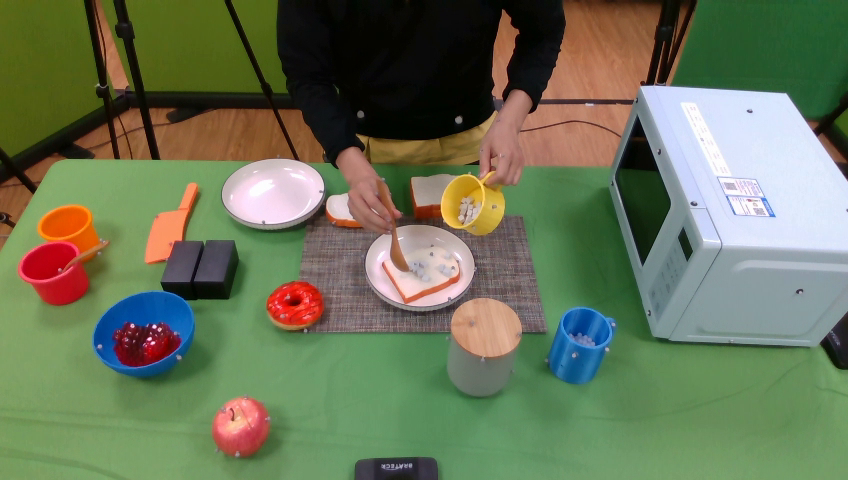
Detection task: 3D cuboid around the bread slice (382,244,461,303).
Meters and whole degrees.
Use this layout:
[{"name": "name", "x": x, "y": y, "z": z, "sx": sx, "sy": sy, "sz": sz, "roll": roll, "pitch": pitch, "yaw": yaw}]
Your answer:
[{"name": "bread slice", "x": 0.001, "y": 0.054, "z": 1.129, "sx": 0.131, "sy": 0.019, "sz": 0.104, "roll": -21, "pitch": 52, "yaw": -19}]

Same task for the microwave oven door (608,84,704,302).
[{"name": "microwave oven door", "x": 0.424, "y": -0.096, "z": 1.138, "sx": 0.039, "sy": 0.245, "sz": 0.353, "roll": 2, "pitch": 47, "yaw": -1}]

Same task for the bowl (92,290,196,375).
[{"name": "bowl", "x": -0.436, "y": 0.161, "z": 0.971, "sx": 0.151, "sy": 0.077, "sz": 0.150, "roll": 2, "pitch": 46, "yaw": -2}]

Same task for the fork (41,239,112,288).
[{"name": "fork", "x": -0.591, "y": 0.040, "z": 1.028, "sx": 0.207, "sy": 0.019, "sz": 0.028, "roll": -27, "pitch": 37, "yaw": 29}]

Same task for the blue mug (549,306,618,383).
[{"name": "blue mug", "x": 0.269, "y": 0.167, "z": 0.997, "sx": 0.116, "sy": 0.106, "sz": 0.082, "roll": -19, "pitch": 51, "yaw": -21}]

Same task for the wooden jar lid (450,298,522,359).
[{"name": "wooden jar lid", "x": 0.093, "y": 0.135, "z": 0.914, "sx": 0.108, "sy": 0.021, "sz": 0.107, "roll": 2, "pitch": 48, "yaw": -3}]

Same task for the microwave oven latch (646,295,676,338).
[{"name": "microwave oven latch", "x": 0.413, "y": 0.133, "z": 1.060, "sx": 0.030, "sy": 0.029, "sz": 0.078, "roll": 4, "pitch": 46, "yaw": 1}]

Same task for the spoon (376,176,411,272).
[{"name": "spoon", "x": -0.054, "y": -0.023, "z": 1.022, "sx": 0.041, "sy": 0.194, "sz": 0.021, "roll": 19, "pitch": 42, "yaw": 42}]

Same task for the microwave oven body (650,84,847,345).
[{"name": "microwave oven body", "x": 0.569, "y": -0.054, "z": 1.116, "sx": 0.326, "sy": 0.261, "sz": 0.439, "roll": 2, "pitch": 46, "yaw": -1}]

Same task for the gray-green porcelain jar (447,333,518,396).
[{"name": "gray-green porcelain jar", "x": 0.091, "y": 0.178, "z": 0.960, "sx": 0.106, "sy": 0.127, "sz": 0.105, "roll": 2, "pitch": 47, "yaw": -2}]

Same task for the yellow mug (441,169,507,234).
[{"name": "yellow mug", "x": 0.099, "y": -0.077, "z": 1.088, "sx": 0.064, "sy": 0.131, "sz": 0.099, "roll": 17, "pitch": 30, "yaw": -47}]

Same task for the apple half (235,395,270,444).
[{"name": "apple half", "x": -0.245, "y": 0.260, "z": 0.893, "sx": 0.033, "sy": 0.082, "sz": 0.081, "roll": -29, "pitch": 55, "yaw": -22}]

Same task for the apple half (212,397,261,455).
[{"name": "apple half", "x": -0.276, "y": 0.277, "z": 0.877, "sx": 0.053, "sy": 0.075, "sz": 0.080, "roll": -29, "pitch": 58, "yaw": -21}]

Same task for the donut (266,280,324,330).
[{"name": "donut", "x": -0.223, "y": 0.112, "z": 1.051, "sx": 0.099, "sy": 0.048, "sz": 0.098, "roll": 2, "pitch": 45, "yaw": -2}]

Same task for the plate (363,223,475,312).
[{"name": "plate", "x": -0.009, "y": 0.054, "z": 1.126, "sx": 0.208, "sy": 0.039, "sz": 0.206, "roll": 2, "pitch": 47, "yaw": -2}]

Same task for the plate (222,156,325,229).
[{"name": "plate", "x": -0.308, "y": -0.095, "z": 1.251, "sx": 0.209, "sy": 0.038, "sz": 0.208, "roll": 2, "pitch": 46, "yaw": -2}]

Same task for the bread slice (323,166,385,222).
[{"name": "bread slice", "x": -0.140, "y": -0.092, "z": 1.224, "sx": 0.134, "sy": 0.018, "sz": 0.106, "roll": -19, "pitch": 51, "yaw": 6}]

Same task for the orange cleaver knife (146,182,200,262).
[{"name": "orange cleaver knife", "x": -0.494, "y": -0.039, "z": 1.198, "sx": 0.077, "sy": 0.012, "sz": 0.210, "roll": -3, "pitch": 48, "yaw": 2}]
